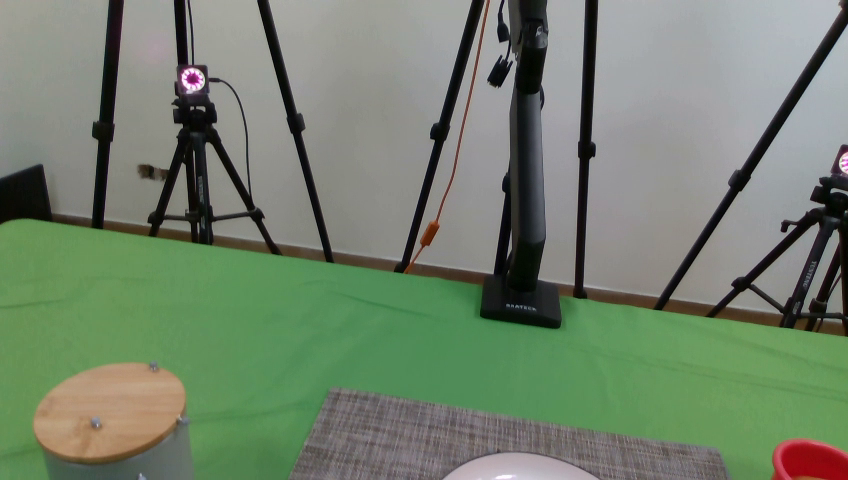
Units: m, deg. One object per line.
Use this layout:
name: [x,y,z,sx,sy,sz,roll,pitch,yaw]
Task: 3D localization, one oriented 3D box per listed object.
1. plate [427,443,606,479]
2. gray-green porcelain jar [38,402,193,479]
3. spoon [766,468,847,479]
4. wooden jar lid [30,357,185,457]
plate: [0.090,0.266,0.523,0.208,0.039,0.206,5,26,-2]
gray-green porcelain jar: [-0.252,0.191,0.509,0.106,0.127,0.105,5,27,-2]
spoon: [0.410,0.218,0.561,0.193,0.021,0.041,-25,3,37]
wooden jar lid: [-0.247,0.133,0.480,0.108,0.021,0.107,7,26,-3]
